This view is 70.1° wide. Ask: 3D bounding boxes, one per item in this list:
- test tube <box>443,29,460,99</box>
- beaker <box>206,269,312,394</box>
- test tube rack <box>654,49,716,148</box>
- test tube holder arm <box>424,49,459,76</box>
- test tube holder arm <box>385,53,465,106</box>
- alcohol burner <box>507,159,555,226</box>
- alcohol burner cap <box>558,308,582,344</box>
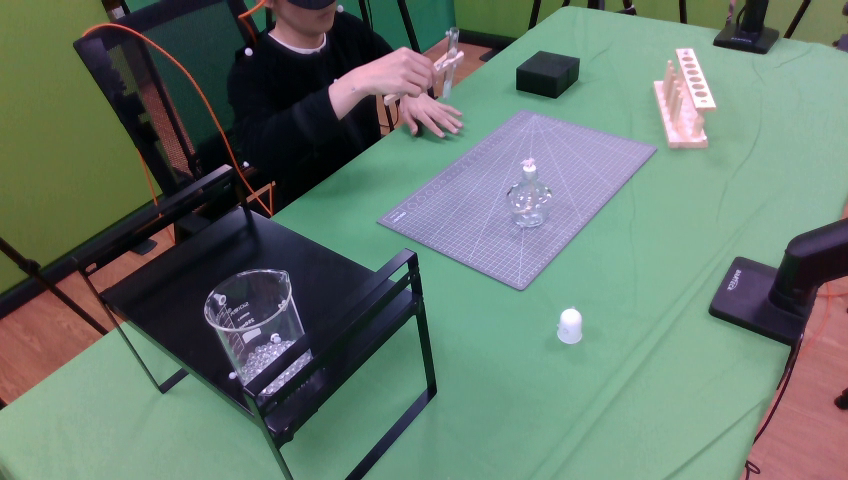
[{"bbox_3d":[0.047,-0.302,1.052,0.017,0.150,0.017,2,59,-3],"label":"test tube"},{"bbox_3d":[-0.146,0.086,0.560,0.073,0.101,0.084,19,46,27],"label":"beaker"},{"bbox_3d":[0.502,-0.280,1.176,0.066,0.085,0.241,2,41,11],"label":"test tube rack"},{"bbox_3d":[0.029,-0.299,1.031,0.010,0.015,0.088,34,59,17],"label":"test tube holder arm"},{"bbox_3d":[0.004,-0.269,1.008,0.013,0.015,0.179,41,62,21],"label":"test tube holder arm"},{"bbox_3d":[0.172,-0.081,0.969,0.078,0.119,0.077,-4,42,4],"label":"alcohol burner"},{"bbox_3d":[0.194,0.111,0.802,0.034,0.048,0.033,-4,39,4],"label":"alcohol burner cap"}]
